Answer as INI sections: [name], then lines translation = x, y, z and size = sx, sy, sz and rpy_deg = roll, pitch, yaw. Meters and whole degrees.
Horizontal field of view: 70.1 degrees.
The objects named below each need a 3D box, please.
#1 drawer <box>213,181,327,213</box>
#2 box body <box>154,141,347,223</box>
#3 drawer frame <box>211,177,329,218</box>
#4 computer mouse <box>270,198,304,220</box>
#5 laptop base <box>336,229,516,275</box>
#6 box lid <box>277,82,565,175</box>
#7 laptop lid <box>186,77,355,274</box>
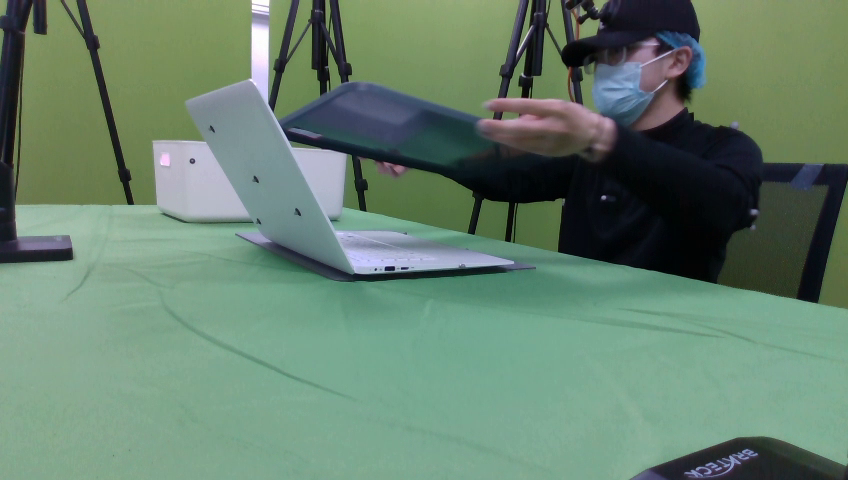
[drawer]
translation = -0.349, -0.099, 1.366
size = 0.213, 0.073, 0.193
rpy_deg = -3, 8, -31
[box body]
translation = -0.383, -0.132, 1.346
size = 0.366, 0.160, 0.253
rpy_deg = -3, 9, -36
[drawer frame]
translation = -0.349, -0.099, 1.365
size = 0.215, 0.082, 0.200
rpy_deg = -3, 9, -32
[computer mouse]
translation = -0.318, -0.074, 1.403
size = 0.063, 0.041, 0.116
rpy_deg = 4, 13, -24
[laptop base]
translation = -0.065, 0.014, 0.877
size = 0.237, 0.023, 0.352
rpy_deg = 1, 7, -32
[box lid]
translation = -0.007, -0.144, 0.868
size = 0.374, 0.015, 0.262
rpy_deg = 7, -7, -36
[laptop lid]
translation = -0.211, -0.081, 0.772
size = 0.013, 0.242, 0.355
rpy_deg = -35, 25, -23
